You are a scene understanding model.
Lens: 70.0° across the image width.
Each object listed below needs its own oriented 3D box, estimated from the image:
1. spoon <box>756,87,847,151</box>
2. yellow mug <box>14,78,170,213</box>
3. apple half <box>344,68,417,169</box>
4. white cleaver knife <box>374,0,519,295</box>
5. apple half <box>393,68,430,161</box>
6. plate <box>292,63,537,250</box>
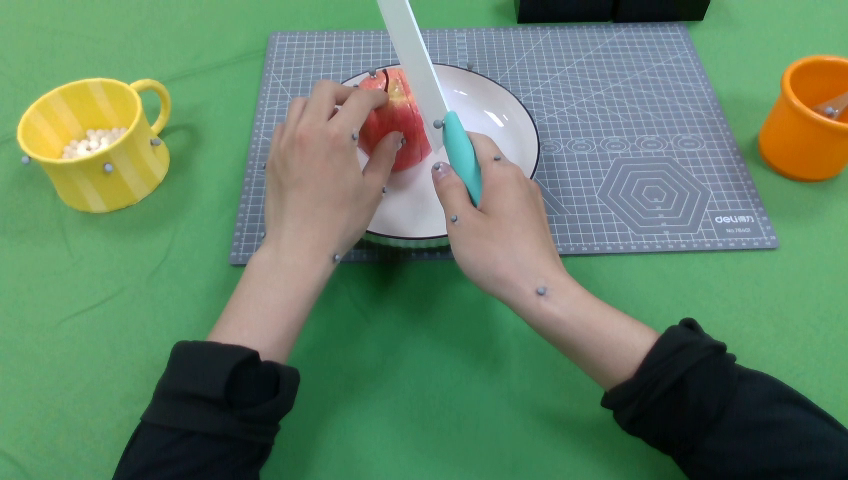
[{"bbox_3d":[0.376,-0.133,0.504,0.022,0.194,0.041,26,42,-36],"label":"spoon"},{"bbox_3d":[-0.275,-0.093,0.530,0.099,0.064,0.130,28,59,18],"label":"yellow mug"},{"bbox_3d":[-0.040,-0.098,0.515,0.053,0.075,0.080,-16,61,-5],"label":"apple half"},{"bbox_3d":[0.007,-0.095,0.442,0.021,0.066,0.286,-20,88,-11],"label":"white cleaver knife"},{"bbox_3d":[-0.002,-0.109,0.520,0.033,0.082,0.080,-17,57,-3],"label":"apple half"},{"bbox_3d":[-0.008,-0.074,0.530,0.209,0.038,0.207,0,56,0],"label":"plate"}]
